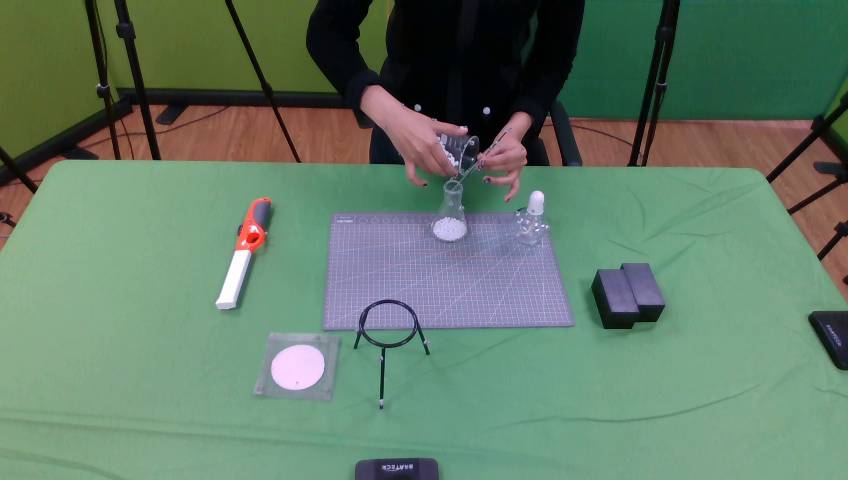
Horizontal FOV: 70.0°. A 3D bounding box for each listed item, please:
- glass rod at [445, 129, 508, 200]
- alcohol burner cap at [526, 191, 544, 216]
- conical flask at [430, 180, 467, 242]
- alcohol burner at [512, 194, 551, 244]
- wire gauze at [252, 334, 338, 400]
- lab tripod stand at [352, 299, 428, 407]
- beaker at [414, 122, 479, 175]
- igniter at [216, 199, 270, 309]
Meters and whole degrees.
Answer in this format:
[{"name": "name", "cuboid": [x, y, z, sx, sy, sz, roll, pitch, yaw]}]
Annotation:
[{"name": "glass rod", "cuboid": [0.092, -0.133, 1.104, 0.008, 0.200, 0.008, 20, 47, -22]}, {"name": "alcohol burner cap", "cuboid": [0.216, -0.073, 1.170, 0.034, 0.048, 0.033, 0, 43, 0]}, {"name": "conical flask", "cuboid": [0.052, -0.060, 1.188, 0.075, 0.122, 0.075, 2, 46, -2]}, {"name": "alcohol burner", "cuboid": [0.215, -0.048, 1.196, 0.078, 0.119, 0.077, 4, 46, -4]}, {"name": "wire gauze", "cuboid": [-0.209, 0.204, 0.996, 0.125, 0.011, 0.120, 3, 45, 1]}, {"name": "lab tripod stand", "cuboid": [-0.056, 0.166, 0.958, 0.148, 0.132, 0.147, 3, 44, -2]}, {"name": "beaker", "cuboid": [0.039, -0.168, 1.105, 0.100, 0.084, 0.074, 23, 45, 21]}, {"name": "igniter", "cuboid": [-0.341, 0.016, 1.153, 0.057, 0.025, 0.275, -3, 45, 7]}]
